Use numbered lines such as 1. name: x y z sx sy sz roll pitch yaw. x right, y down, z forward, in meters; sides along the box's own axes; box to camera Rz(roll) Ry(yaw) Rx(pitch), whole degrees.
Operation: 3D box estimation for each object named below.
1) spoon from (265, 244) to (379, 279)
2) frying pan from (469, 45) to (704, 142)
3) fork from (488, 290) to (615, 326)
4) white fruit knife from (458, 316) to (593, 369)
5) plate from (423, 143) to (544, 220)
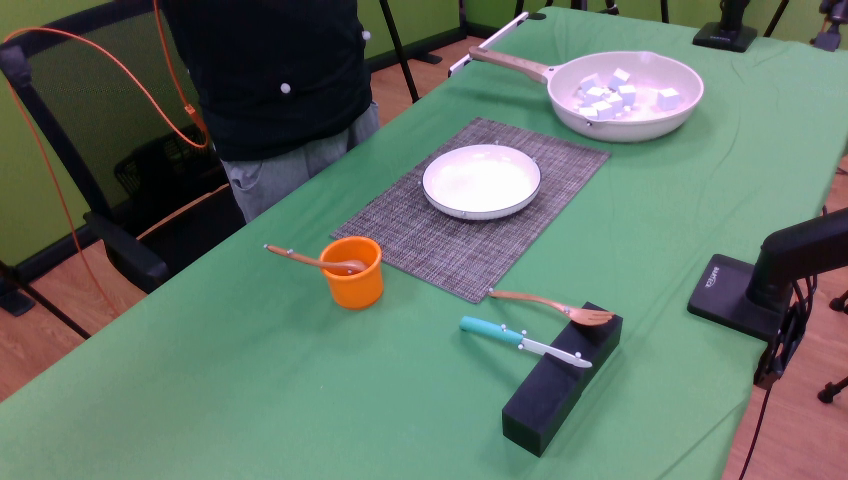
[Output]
1. spoon: -0.137 0.031 0.846 0.195 0.021 0.041 13 16 -45
2. frying pan: 0.307 -0.326 1.239 0.485 0.103 0.307 26 49 22
3. fork: 0.160 0.086 0.801 0.205 0.019 0.028 12 46 48
4. white fruit knife: 0.120 0.127 0.757 0.205 0.027 0.016 12 44 43
5. plate: 0.102 -0.097 1.049 0.207 0.039 0.206 -4 40 4
